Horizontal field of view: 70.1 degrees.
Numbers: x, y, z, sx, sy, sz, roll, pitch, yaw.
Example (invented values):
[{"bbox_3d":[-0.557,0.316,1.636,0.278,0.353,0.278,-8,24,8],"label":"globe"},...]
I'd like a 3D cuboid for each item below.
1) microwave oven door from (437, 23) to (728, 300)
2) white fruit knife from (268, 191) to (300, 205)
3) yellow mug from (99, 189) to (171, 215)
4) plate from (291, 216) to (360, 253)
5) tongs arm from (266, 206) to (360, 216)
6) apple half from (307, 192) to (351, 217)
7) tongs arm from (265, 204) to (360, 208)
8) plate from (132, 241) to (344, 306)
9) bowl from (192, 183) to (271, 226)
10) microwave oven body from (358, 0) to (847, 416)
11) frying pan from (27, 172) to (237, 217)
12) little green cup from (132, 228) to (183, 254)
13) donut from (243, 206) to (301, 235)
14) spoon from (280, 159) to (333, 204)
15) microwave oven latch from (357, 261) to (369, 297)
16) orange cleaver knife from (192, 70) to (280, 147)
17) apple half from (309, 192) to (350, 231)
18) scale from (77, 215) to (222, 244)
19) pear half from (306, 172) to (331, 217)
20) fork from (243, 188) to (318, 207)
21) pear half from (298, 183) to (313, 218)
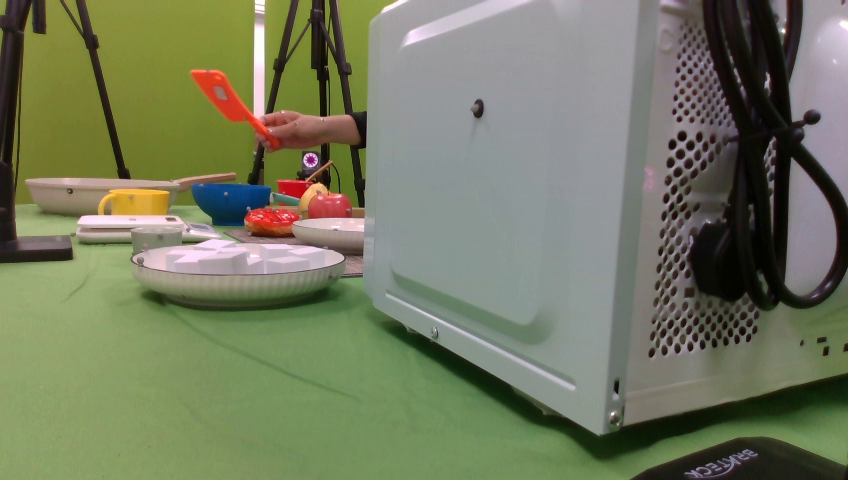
[{"bbox_3d":[0.180,-0.072,0.621,0.358,0.243,0.039,-2,8,-29],"label":"microwave oven door"},{"bbox_3d":[-0.364,-0.105,1.464,0.208,0.027,0.016,15,0,-34],"label":"white fruit knife"},{"bbox_3d":[-0.519,-0.055,1.080,0.099,0.064,0.131,7,10,26],"label":"yellow mug"},{"bbox_3d":[-0.103,-0.009,0.945,0.209,0.038,0.209,2,8,0],"label":"plate"},{"bbox_3d":[-0.173,-0.061,1.362,0.387,0.026,0.050,-1,4,-31],"label":"tongs arm"},{"bbox_3d":[-0.174,-0.049,1.087,0.081,0.074,0.053,6,10,2],"label":"apple half"},{"bbox_3d":[-0.210,-0.069,1.439,0.389,0.027,0.028,1,0,-17],"label":"tongs arm"},{"bbox_3d":[-0.187,0.033,0.625,0.208,0.039,0.207,2,7,0],"label":"plate"},{"bbox_3d":[-0.382,-0.070,1.202,0.151,0.077,0.151,3,7,0],"label":"bowl"},{"bbox_3d":[0.211,-0.047,0.474,0.444,0.260,0.324,-1,7,-28],"label":"microwave oven body"},{"bbox_3d":[-0.624,-0.118,1.387,0.305,0.102,0.490,8,17,32],"label":"frying pan"},{"bbox_3d":[-0.342,0.006,0.779,0.061,0.038,0.061,2,8,0],"label":"little green cup"},{"bbox_3d":[-0.261,-0.032,1.043,0.099,0.048,0.099,3,9,0],"label":"donut"},{"bbox_3d":[-0.316,-0.159,1.640,0.194,0.022,0.041,-50,32,-20],"label":"spoon"},{"bbox_3d":[-0.019,0.033,0.530,0.079,0.029,0.030,-1,7,-27],"label":"microwave oven latch"},{"bbox_3d":[-0.361,-0.252,1.171,0.077,0.012,0.212,-2,-34,27],"label":"orange cleaver knife"},{"bbox_3d":[-0.173,-0.054,1.125,0.081,0.081,0.033,2,10,2],"label":"apple half"},{"bbox_3d":[-0.434,-0.019,0.963,0.202,0.031,0.148,-1,9,-27],"label":"scale"},{"bbox_3d":[-0.200,-0.079,1.204,0.056,0.110,0.076,3,11,2],"label":"pear half"},{"bbox_3d":[-0.356,-0.105,1.526,0.208,0.018,0.028,16,-5,-41],"label":"fork"},{"bbox_3d":[-0.235,-0.071,1.207,0.031,0.088,0.070,3,10,1],"label":"pear half"}]
